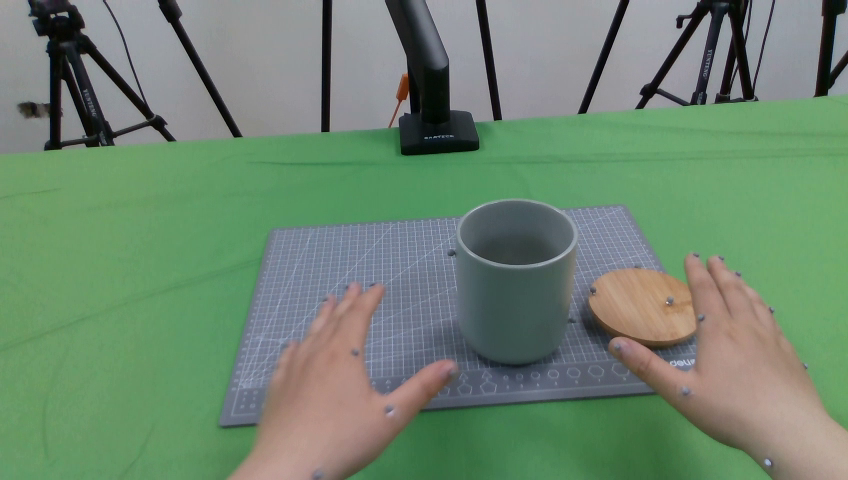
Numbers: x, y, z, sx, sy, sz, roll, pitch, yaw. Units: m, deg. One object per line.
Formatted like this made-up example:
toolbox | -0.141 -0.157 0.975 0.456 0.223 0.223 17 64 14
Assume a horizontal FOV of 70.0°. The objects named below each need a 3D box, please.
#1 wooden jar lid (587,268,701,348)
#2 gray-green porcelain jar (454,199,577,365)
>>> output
wooden jar lid | 0.217 0.069 0.602 0.108 0.021 0.107 -2 35 2
gray-green porcelain jar | 0.081 0.043 0.556 0.106 0.127 0.105 -2 36 2
